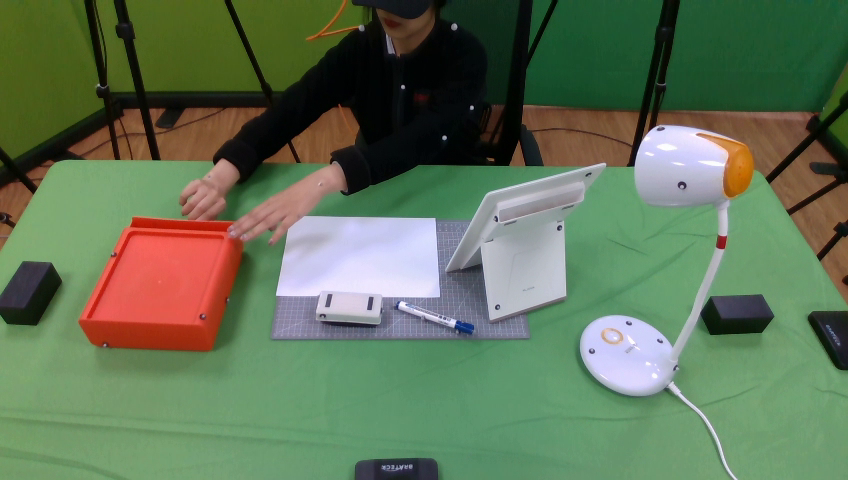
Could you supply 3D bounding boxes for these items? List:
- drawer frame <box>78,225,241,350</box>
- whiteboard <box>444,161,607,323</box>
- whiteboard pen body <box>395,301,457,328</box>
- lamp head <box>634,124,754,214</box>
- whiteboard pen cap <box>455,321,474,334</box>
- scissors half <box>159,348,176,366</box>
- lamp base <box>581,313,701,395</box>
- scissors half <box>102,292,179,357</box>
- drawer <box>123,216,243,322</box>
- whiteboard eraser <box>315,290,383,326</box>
[{"bbox_3d":[-0.444,0.078,1.047,0.202,0.083,0.212,3,47,-3],"label":"drawer frame"},{"bbox_3d":[0.186,0.025,1.029,0.217,0.306,0.143,-14,68,-18],"label":"whiteboard"},{"bbox_3d":[0.015,0.134,1.064,0.140,0.017,0.017,17,47,16],"label":"whiteboard pen body"},{"bbox_3d":[0.351,-0.089,0.776,0.112,0.113,0.122,-30,30,-28],"label":"lamp head"},{"bbox_3d":[0.069,0.151,1.046,0.033,0.018,0.018,14,47,16],"label":"whiteboard pen cap"},{"bbox_3d":[-0.477,0.148,1.020,0.175,0.040,0.013,48,48,-3],"label":"scissors half"},{"bbox_3d":[0.361,0.144,0.972,0.178,0.181,0.160,34,53,23],"label":"lamp base"},{"bbox_3d":[-0.473,0.141,1.011,0.175,0.040,0.013,36,53,9],"label":"scissors half"},{"bbox_3d":[-0.443,0.056,1.069,0.194,0.073,0.210,4,46,-2],"label":"drawer"},{"bbox_3d":[-0.130,0.120,1.054,0.113,0.042,0.055,4,47,-1],"label":"whiteboard eraser"}]
